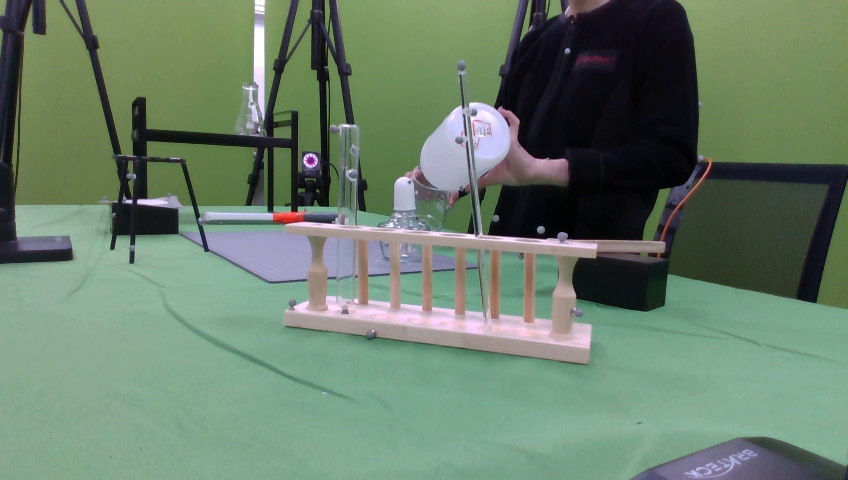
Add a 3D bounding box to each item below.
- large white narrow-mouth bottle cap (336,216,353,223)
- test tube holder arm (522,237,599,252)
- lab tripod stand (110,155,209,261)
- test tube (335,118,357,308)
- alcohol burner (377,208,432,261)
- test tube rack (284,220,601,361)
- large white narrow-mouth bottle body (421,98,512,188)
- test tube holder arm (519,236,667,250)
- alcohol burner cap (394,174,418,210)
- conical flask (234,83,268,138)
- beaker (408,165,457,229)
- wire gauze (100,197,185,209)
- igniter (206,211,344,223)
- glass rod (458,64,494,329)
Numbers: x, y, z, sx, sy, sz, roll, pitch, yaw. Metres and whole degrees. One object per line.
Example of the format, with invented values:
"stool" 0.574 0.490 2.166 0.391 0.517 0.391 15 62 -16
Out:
"large white narrow-mouth bottle cap" -0.161 -0.036 1.231 0.038 0.024 0.037 2 8 0
"test tube holder arm" 0.144 0.004 0.635 0.088 0.015 0.010 0 14 -19
"lab tripod stand" -0.361 -0.046 0.806 0.148 0.131 0.148 2 5 0
"test tube" -0.061 -0.019 0.476 0.017 0.150 0.017 2 11 0
"alcohol burner" -0.027 -0.031 0.838 0.078 0.119 0.078 0 6 0
"test tube rack" 0.013 0.032 0.482 0.242 0.085 0.067 4 7 16
"large white narrow-mouth bottle body" 0.051 -0.135 0.930 0.102 0.101 0.194 -1 -13 -21
"test tube holder arm" 0.186 0.003 0.655 0.179 0.015 0.013 0 14 -19
"alcohol burner cap" -0.026 -0.067 0.834 0.034 0.048 0.034 -1 12 1
"conical flask" -0.400 -0.298 1.396 0.075 0.122 0.075 2 8 0
"beaker" 0.014 -0.070 1.056 0.083 0.100 0.074 28 39 22
"wire gauze" -0.469 -0.062 1.008 0.126 0.011 0.121 -2 8 -25
"igniter" -0.302 -0.048 1.249 0.278 0.025 0.057 -2 -2 -27
"glass rod" 0.040 -0.029 0.450 0.008 0.199 0.008 -7 9 1
